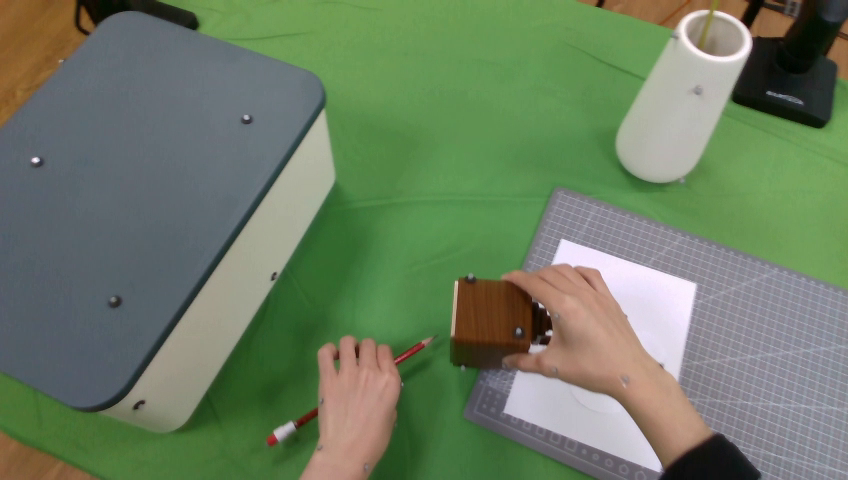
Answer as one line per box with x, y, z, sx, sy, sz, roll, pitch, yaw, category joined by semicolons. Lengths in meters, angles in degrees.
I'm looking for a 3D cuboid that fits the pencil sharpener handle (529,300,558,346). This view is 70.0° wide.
0.112;0.080;0.556;0.030;0.068;0.035;4;60;3;pencil sharpener handle

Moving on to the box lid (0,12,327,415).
-0.278;-0.056;0.550;0.262;0.015;0.369;22;64;10;box lid

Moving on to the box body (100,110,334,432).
-0.279;-0.019;0.616;0.253;0.161;0.362;21;65;11;box body

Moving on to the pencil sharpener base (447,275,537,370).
0.062;0.081;0.570;0.076;0.108;0.061;4;66;3;pencil sharpener base

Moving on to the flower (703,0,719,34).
0.276;-0.201;0.598;0.044;0.365;0.038;14;46;11;flower

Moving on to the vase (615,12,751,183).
0.278;-0.149;0.665;0.098;0.201;0.097;0;61;1;vase

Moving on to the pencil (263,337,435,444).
-0.070;0.146;0.601;0.194;0.012;0.012;-29;66;-16;pencil
